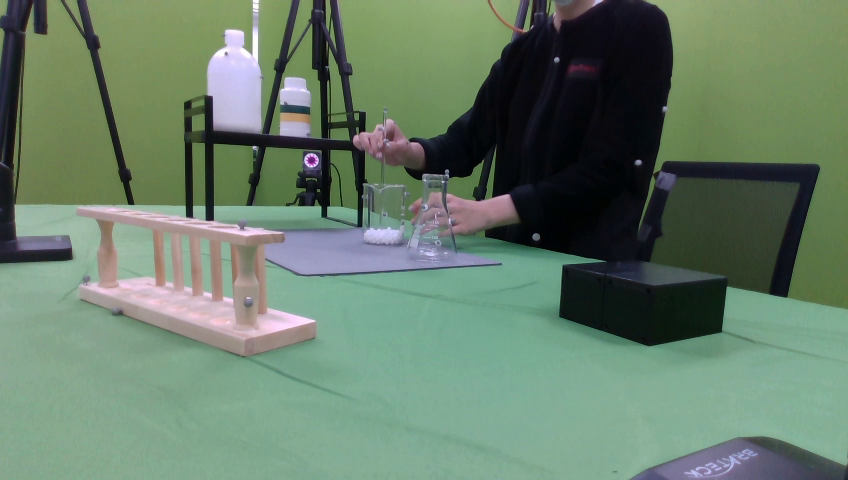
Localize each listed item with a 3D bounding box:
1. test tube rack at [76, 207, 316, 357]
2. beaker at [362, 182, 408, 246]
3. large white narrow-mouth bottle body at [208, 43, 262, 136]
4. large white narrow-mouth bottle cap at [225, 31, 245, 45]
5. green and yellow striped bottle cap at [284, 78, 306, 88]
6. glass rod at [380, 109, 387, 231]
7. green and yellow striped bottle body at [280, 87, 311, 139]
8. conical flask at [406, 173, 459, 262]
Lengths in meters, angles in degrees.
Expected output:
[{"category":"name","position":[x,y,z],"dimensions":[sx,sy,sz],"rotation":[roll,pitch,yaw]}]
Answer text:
[{"category":"test tube rack","position":[-0.196,0.023,0.500],"dimensions":[0.241,0.085,0.067],"rotation":[8,9,36]},{"category":"beaker","position":[-0.066,-0.043,0.996],"dimensions":[0.074,0.100,0.084],"rotation":[3,8,6]},{"category":"large white narrow-mouth bottle body","position":[-0.368,-0.304,1.181],"dimensions":[0.102,0.194,0.101],"rotation":[2,9,0]},{"category":"large white narrow-mouth bottle cap","position":[-0.365,-0.388,1.166],"dimensions":[0.038,0.024,0.037],"rotation":[2,9,0]},{"category":"green and yellow striped bottle cap","position":[-0.268,-0.325,1.259],"dimensions":[0.045,0.020,0.045],"rotation":[5,7,0]},{"category":"glass rod","position":[-0.067,-0.114,0.997],"dimensions":[0.008,0.199,0.008],"rotation":[2,7,0]},{"category":"green and yellow striped bottle body","position":[-0.269,-0.274,1.266],"dimensions":[0.063,0.119,0.063],"rotation":[3,7,0]},{"category":"conical flask","position":[0.014,-0.033,0.851],"dimensions":[0.075,0.122,0.075],"rotation":[3,7,0]}]
